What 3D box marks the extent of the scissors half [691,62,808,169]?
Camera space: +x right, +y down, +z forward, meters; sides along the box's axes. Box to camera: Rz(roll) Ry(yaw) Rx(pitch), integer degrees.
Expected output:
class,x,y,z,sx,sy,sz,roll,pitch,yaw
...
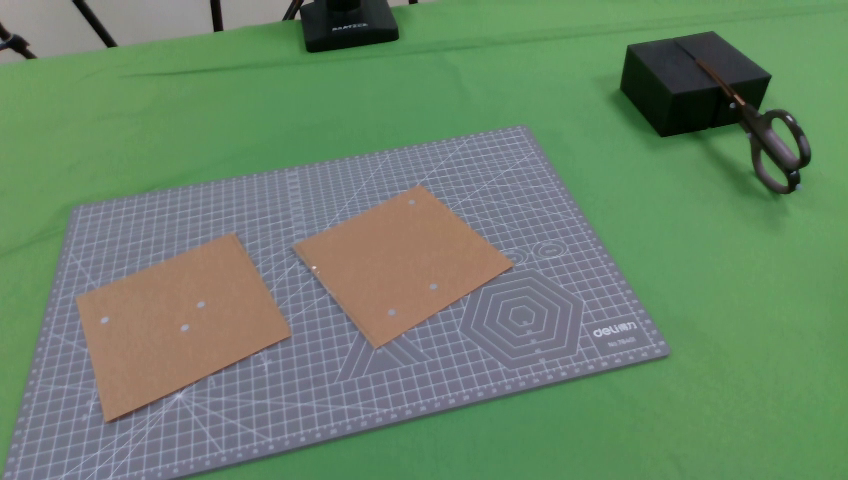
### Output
class,x,y,z,sx,sy,sz,roll,pitch,yaw
scissors half,0.290,-0.123,0.553,0.013,0.040,0.173,-21,42,3

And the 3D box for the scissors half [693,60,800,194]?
class,x,y,z,sx,sy,sz,roll,pitch,yaw
scissors half,0.295,-0.110,0.568,0.013,0.040,0.173,-17,59,-1

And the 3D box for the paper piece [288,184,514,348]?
class,x,y,z,sx,sy,sz,roll,pitch,yaw
paper piece,-0.021,0.012,0.504,0.138,0.009,0.134,-27,53,-23

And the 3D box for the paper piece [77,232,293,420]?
class,x,y,z,sx,sy,sz,roll,pitch,yaw
paper piece,-0.189,0.057,0.469,0.136,0.004,0.134,-24,48,-20
